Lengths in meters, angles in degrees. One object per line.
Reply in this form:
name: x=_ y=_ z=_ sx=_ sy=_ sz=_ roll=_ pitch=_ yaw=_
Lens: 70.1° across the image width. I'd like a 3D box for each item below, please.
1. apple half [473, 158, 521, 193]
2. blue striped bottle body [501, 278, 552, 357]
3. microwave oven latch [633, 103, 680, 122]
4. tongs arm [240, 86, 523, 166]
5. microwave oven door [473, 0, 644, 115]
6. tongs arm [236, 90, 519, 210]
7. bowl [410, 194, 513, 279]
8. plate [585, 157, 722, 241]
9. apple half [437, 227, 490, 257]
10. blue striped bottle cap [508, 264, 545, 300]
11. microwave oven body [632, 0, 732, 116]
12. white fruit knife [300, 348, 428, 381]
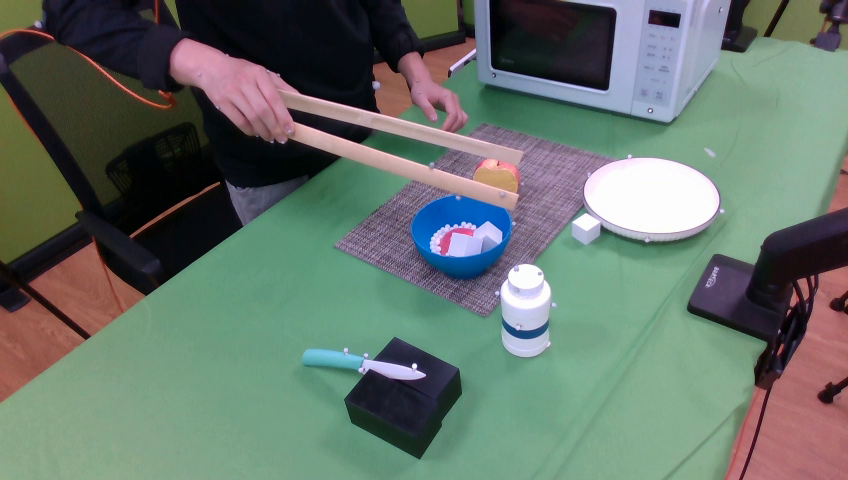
apple half: x=0.128 y=-0.107 z=1.030 sx=0.080 sy=0.075 sz=0.053 roll=4 pitch=38 yaw=19
blue striped bottle body: x=0.129 y=0.089 z=0.769 sx=0.063 sy=0.121 sz=0.063 roll=-4 pitch=40 yaw=4
microwave oven latch: x=0.444 y=-0.249 z=1.157 sx=0.078 sy=0.029 sz=0.030 roll=21 pitch=48 yaw=30
tongs arm: x=-0.053 y=-0.153 z=0.822 sx=0.388 sy=0.028 sz=0.028 roll=13 pitch=45 yaw=-6
microwave oven door: x=0.257 y=-0.396 z=1.199 sx=0.353 sy=0.245 sz=0.039 roll=21 pitch=48 yaw=29
tongs arm: x=-0.063 y=-0.116 z=0.776 sx=0.385 sy=0.026 sz=0.050 roll=17 pitch=42 yaw=0
bowl: x=0.058 y=0.005 z=0.905 sx=0.151 sy=0.077 sz=0.150 roll=-4 pitch=40 yaw=4
plate: x=0.367 y=-0.063 z=0.979 sx=0.207 sy=0.039 sz=0.206 roll=-4 pitch=40 yaw=4
apple half: x=0.056 y=0.001 z=0.902 sx=0.081 sy=0.033 sz=0.081 roll=-3 pitch=41 yaw=3
blue striped bottle cap: x=0.125 y=0.051 z=0.735 sx=0.044 sy=0.021 sz=0.044 roll=-5 pitch=39 yaw=5
microwave oven body: x=0.377 y=-0.462 z=1.267 sx=0.438 sy=0.261 sz=0.327 roll=21 pitch=48 yaw=30
white fruit knife: x=-0.079 y=0.154 z=0.748 sx=0.206 sy=0.027 sz=0.016 roll=1 pitch=20 yaw=34
